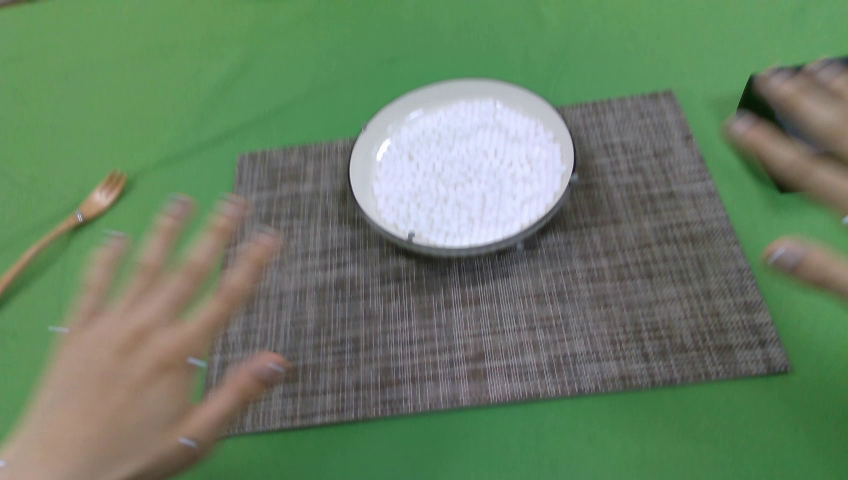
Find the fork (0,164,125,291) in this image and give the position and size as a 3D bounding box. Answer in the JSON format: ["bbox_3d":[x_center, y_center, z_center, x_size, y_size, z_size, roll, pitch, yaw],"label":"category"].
[{"bbox_3d":[-0.371,0.003,0.592,0.028,0.019,0.206,30,64,13],"label":"fork"}]

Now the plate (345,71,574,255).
[{"bbox_3d":[0.032,-0.071,0.561,0.209,0.038,0.207,-4,57,7],"label":"plate"}]
